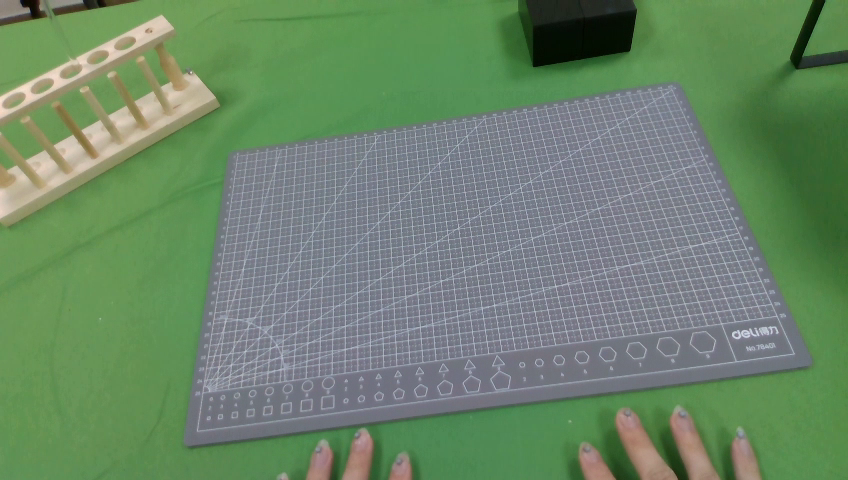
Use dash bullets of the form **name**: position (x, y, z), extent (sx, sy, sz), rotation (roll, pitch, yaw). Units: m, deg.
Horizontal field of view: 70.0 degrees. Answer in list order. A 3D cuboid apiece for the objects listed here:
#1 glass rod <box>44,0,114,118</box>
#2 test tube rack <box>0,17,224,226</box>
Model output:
- **glass rod**: position (-0.338, -0.188, 0.580), extent (0.008, 0.201, 0.008), rotation (-3, 46, 3)
- **test tube rack**: position (-0.339, -0.123, 0.616), extent (0.242, 0.086, 0.066), rotation (-34, 57, -15)
